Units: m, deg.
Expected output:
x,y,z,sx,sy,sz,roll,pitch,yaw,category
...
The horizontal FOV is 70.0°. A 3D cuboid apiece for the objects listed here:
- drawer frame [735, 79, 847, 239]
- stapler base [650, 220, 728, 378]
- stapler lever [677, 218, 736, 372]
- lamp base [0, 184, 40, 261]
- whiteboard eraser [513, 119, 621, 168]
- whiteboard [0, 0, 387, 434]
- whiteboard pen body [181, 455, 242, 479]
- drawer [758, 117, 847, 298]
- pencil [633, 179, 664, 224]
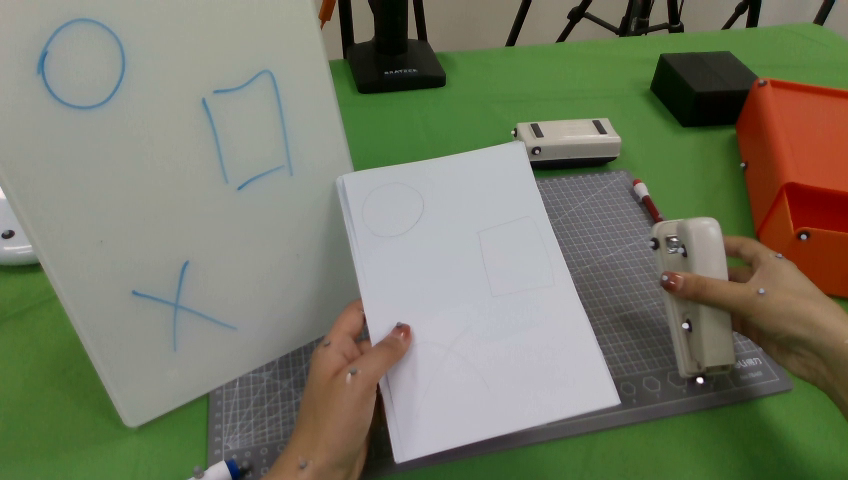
x,y,z,sx,sy,sz,roll,pitch,yaw,category
0.453,-0.075,0.640,0.201,0.083,0.212,10,43,9,drawer frame
0.217,0.045,0.491,0.041,0.024,0.130,-6,78,-1,stapler base
0.218,0.040,0.465,0.027,0.040,0.117,-6,79,-1,stapler lever
-0.380,-0.097,0.545,0.178,0.182,0.160,20,46,21,lamp base
0.163,-0.110,0.693,0.113,0.042,0.055,-3,44,-7,whiteboard eraser
-0.181,-0.055,0.463,0.217,0.308,0.142,-24,30,-25,whiteboard
-0.184,0.175,0.381,0.141,0.017,0.017,-22,48,-26,whiteboard pen body
0.437,-0.032,0.596,0.194,0.074,0.210,11,43,10,drawer
0.243,0.004,0.595,0.012,0.012,0.192,-3,46,-6,pencil
